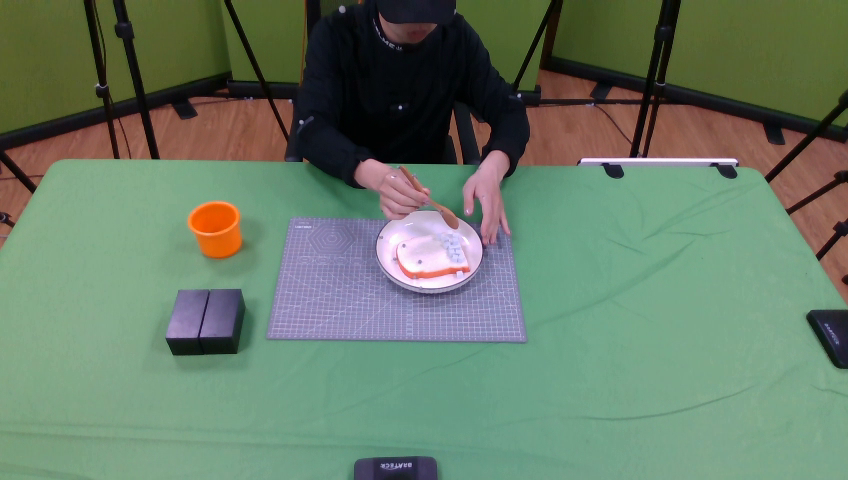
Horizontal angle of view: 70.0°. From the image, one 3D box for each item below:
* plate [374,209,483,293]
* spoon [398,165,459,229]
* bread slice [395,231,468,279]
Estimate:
[{"bbox_3d":[0.009,0.024,1.160,0.209,0.038,0.208,2,46,-2],"label":"plate"},{"bbox_3d":[0.009,-0.075,1.094,0.041,0.195,0.021,22,77,43],"label":"spoon"},{"bbox_3d":[0.011,0.030,1.159,0.132,0.019,0.104,-8,47,-14],"label":"bread slice"}]
